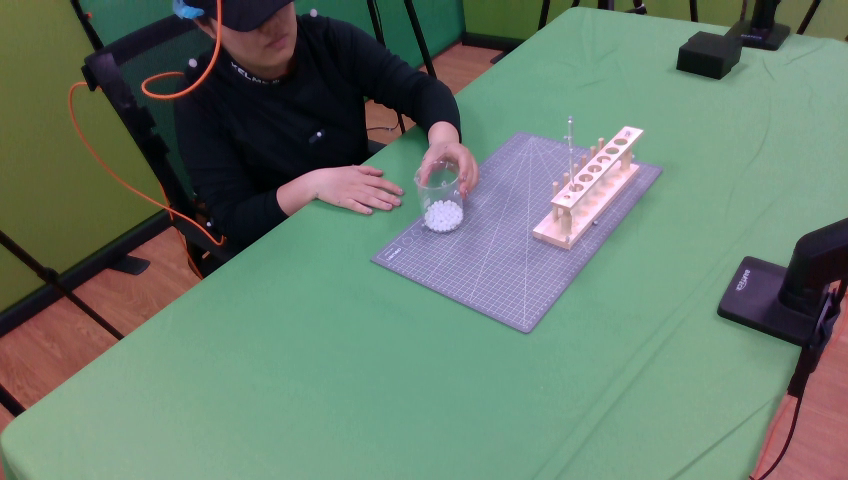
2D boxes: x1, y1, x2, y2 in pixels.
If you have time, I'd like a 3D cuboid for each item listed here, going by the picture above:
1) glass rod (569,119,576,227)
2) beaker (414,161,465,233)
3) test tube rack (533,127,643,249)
[{"bbox_3d":[0.218,-0.093,0.893,0.008,0.201,0.008,-8,43,8],"label":"glass rod"},{"bbox_3d":[0.029,-0.070,0.990,0.073,0.101,0.084,11,46,21],"label":"beaker"},{"bbox_3d":[0.271,-0.094,0.989,0.066,0.085,0.243,23,50,34],"label":"test tube rack"}]
